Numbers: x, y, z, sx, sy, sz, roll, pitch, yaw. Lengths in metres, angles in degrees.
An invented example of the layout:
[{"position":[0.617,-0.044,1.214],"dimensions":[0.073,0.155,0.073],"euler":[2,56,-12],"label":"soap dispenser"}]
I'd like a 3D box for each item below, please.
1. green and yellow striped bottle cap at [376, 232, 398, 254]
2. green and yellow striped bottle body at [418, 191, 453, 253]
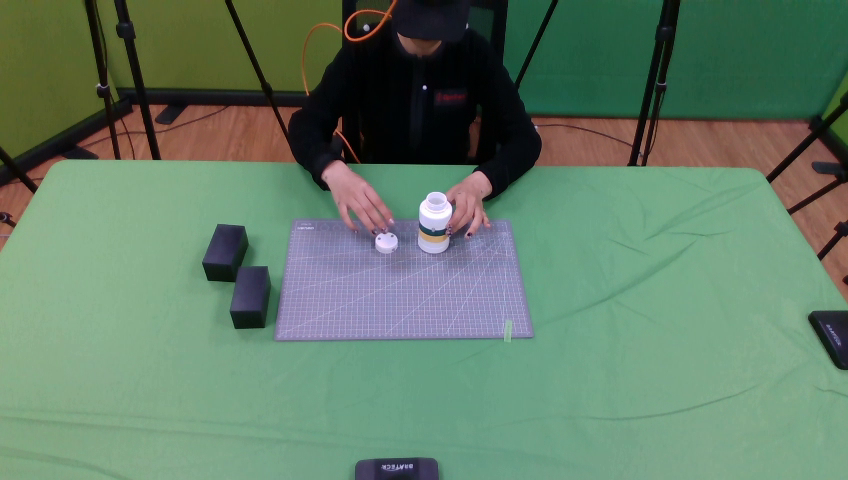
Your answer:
[{"position":[-0.073,0.005,1.187],"dimensions":[0.045,0.020,0.045],"euler":[2,45,-1],"label":"green and yellow striped bottle cap"},{"position":[0.022,-0.036,1.160],"dimensions":[0.063,0.120,0.063],"euler":[2,45,-2],"label":"green and yellow striped bottle body"}]
